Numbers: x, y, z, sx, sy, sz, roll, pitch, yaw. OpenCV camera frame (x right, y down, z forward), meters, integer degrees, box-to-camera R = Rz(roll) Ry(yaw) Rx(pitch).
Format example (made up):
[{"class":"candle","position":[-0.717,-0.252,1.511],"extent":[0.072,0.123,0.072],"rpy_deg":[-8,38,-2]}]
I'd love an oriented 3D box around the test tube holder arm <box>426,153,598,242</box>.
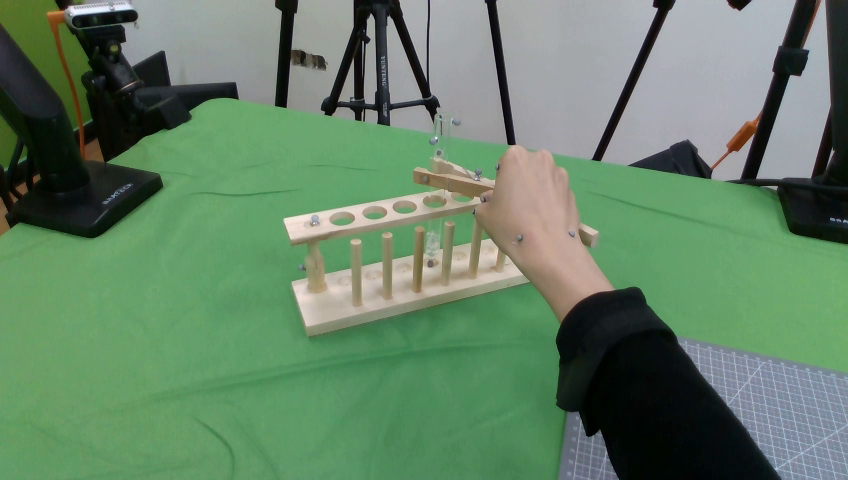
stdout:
[{"class":"test tube holder arm","position":[0.067,-0.039,0.509],"extent":[0.176,0.015,0.013],"rpy_deg":[28,48,35]}]

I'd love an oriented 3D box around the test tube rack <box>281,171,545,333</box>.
[{"class":"test tube rack","position":[-0.002,0.007,0.567],"extent":[0.243,0.086,0.066],"rpy_deg":[-12,39,-19]}]

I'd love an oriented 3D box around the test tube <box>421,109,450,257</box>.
[{"class":"test tube","position":[0.009,-0.047,0.557],"extent":[0.017,0.151,0.017],"rpy_deg":[4,34,-2]}]

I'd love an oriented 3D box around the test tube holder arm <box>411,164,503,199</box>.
[{"class":"test tube holder arm","position":[0.029,-0.051,0.528],"extent":[0.087,0.015,0.010],"rpy_deg":[14,40,22]}]

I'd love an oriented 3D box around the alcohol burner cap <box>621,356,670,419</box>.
[{"class":"alcohol burner cap","position":[0.173,0.111,0.468],"extent":[0.034,0.048,0.033],"rpy_deg":[1,37,-1]}]
